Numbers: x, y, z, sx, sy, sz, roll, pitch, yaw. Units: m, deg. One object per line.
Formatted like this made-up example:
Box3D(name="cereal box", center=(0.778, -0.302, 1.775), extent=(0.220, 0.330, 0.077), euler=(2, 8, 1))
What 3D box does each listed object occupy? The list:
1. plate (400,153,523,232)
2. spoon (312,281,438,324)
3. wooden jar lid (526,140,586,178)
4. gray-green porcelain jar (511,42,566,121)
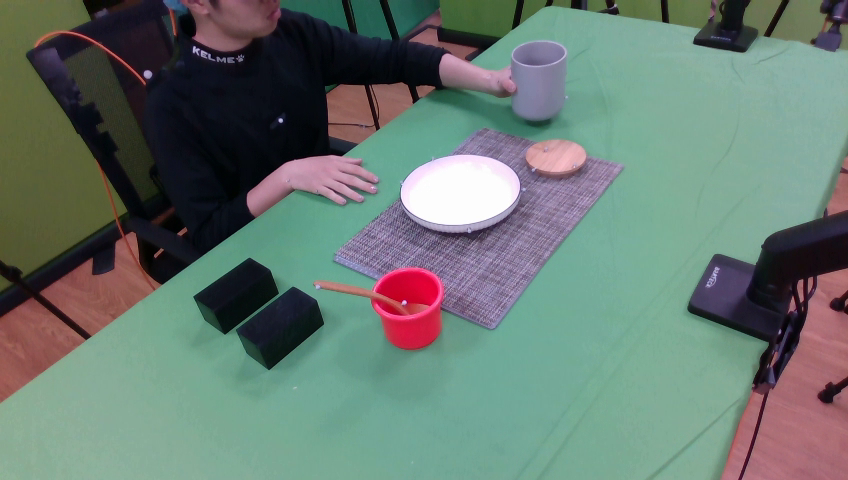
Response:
Box3D(name="plate", center=(0.065, -0.078, 1.034), extent=(0.207, 0.039, 0.206), euler=(-4, 41, 4))
Box3D(name="spoon", center=(-0.060, 0.078, 0.793), extent=(0.195, 0.021, 0.041), euler=(24, 25, -35))
Box3D(name="wooden jar lid", center=(0.240, -0.147, 1.103), extent=(0.108, 0.021, 0.108), euler=(-4, 42, 4))
Box3D(name="gray-green porcelain jar", center=(0.223, -0.306, 1.185), extent=(0.106, 0.127, 0.105), euler=(-4, 44, 4))
